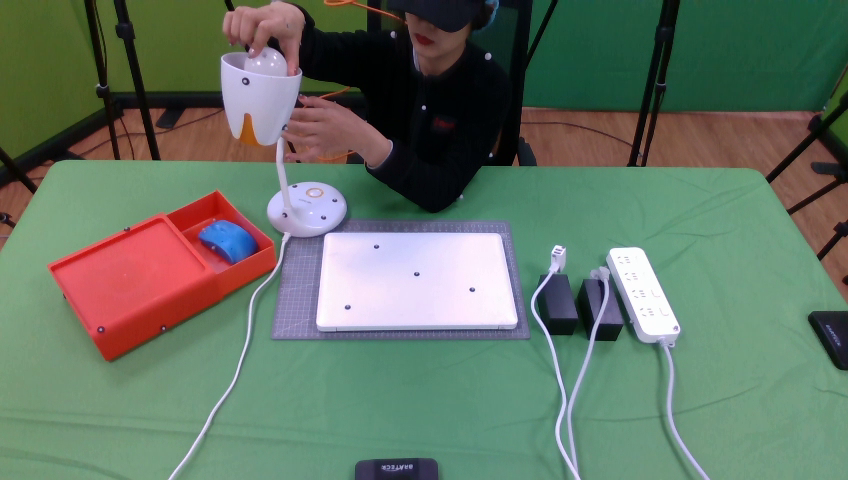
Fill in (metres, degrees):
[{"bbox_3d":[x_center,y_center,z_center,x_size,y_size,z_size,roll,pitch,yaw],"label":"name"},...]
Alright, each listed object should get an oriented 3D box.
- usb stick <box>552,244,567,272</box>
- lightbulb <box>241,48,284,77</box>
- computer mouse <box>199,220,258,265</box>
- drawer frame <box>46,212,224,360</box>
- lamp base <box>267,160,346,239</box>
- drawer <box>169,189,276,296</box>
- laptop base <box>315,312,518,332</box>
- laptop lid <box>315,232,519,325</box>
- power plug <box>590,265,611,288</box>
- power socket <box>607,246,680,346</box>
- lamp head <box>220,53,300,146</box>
[{"bbox_3d":[0.251,0.039,1.123,0.021,0.059,0.027,14,47,24],"label":"usb stick"},{"bbox_3d":[-0.234,-0.221,0.871,0.059,0.108,0.059,10,24,-4],"label":"lightbulb"},{"bbox_3d":[-0.373,-0.001,1.153,0.116,0.041,0.063,30,52,28],"label":"computer mouse"},{"bbox_3d":[-0.495,0.072,1.050,0.213,0.083,0.200,-32,56,-30],"label":"drawer frame"},{"bbox_3d":[-0.241,-0.110,1.175,0.160,0.181,0.178,11,49,9],"label":"lamp base"},{"bbox_3d":[-0.413,0.022,1.108,0.212,0.073,0.193,-33,57,-30],"label":"drawer"},{"bbox_3d":[-0.016,0.075,1.125,0.355,0.023,0.234,0,42,-4],"label":"laptop base"},{"bbox_3d":[-0.015,0.065,1.118,0.357,0.013,0.240,1,43,-3],"label":"laptop lid"},{"bbox_3d":[0.318,0.073,1.108,0.035,0.053,0.072,26,33,13],"label":"power plug"},{"bbox_3d":[0.403,0.096,1.123,0.072,0.033,0.225,-3,46,-5],"label":"power socket"},{"bbox_3d":[-0.243,-0.203,0.889,0.112,0.123,0.112,11,33,-7],"label":"lamp head"}]
